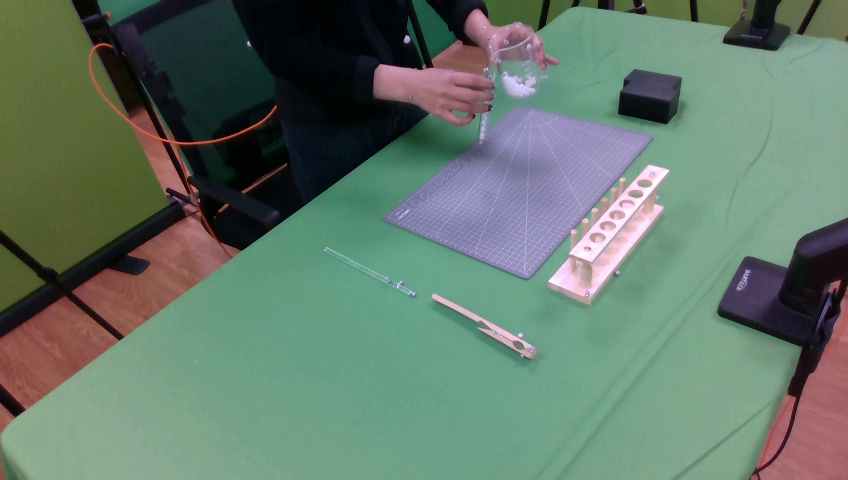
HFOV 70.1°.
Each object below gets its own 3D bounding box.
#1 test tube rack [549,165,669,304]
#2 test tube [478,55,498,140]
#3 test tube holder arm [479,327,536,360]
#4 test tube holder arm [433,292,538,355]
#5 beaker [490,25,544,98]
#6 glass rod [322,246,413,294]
[{"bbox_3d":[0.279,-0.018,0.902,0.066,0.085,0.243,24,50,33],"label":"test tube rack"},{"bbox_3d":[0.107,-0.239,1.026,0.017,0.150,0.017,3,37,-2],"label":"test tube"},{"bbox_3d":[0.110,0.134,0.805,0.087,0.015,0.010,29,83,36],"label":"test tube holder arm"},{"bbox_3d":[0.081,0.113,0.832,0.177,0.015,0.013,28,82,36],"label":"test tube holder arm"},{"bbox_3d":[0.158,-0.297,1.023,0.084,0.101,0.073,-37,41,-15],"label":"beaker"},{"bbox_3d":[-0.093,0.045,0.956,0.198,0.008,0.008,24,51,33],"label":"glass rod"}]
